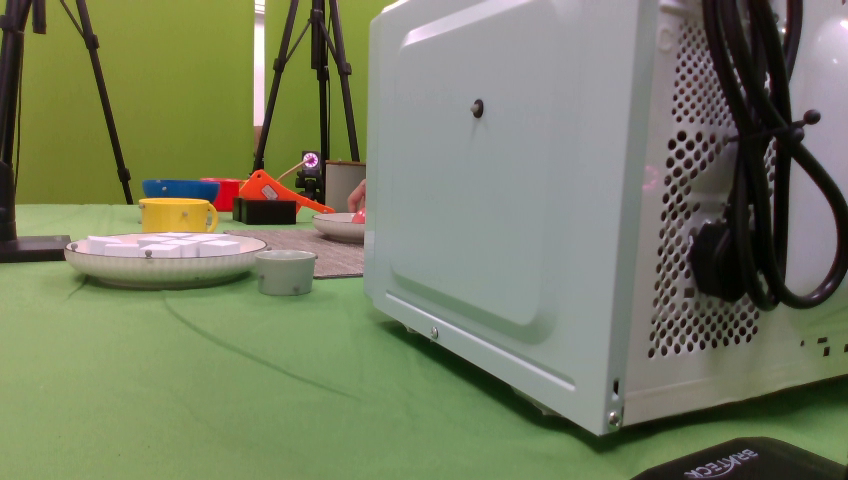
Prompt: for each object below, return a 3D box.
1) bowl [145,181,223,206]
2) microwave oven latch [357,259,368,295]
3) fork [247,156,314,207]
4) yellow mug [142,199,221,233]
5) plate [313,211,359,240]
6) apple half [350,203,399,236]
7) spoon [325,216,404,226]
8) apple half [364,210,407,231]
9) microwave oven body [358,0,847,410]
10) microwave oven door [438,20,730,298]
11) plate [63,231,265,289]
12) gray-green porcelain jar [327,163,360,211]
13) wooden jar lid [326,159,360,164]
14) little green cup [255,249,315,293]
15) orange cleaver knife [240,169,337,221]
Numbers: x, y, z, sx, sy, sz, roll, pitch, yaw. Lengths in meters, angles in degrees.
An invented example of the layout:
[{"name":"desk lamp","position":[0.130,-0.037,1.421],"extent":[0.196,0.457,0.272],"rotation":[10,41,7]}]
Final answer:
[{"name":"bowl","position":[-0.499,-0.081,1.261],"extent":[0.151,0.077,0.151],"rotation":[2,8,0]},{"name":"microwave oven latch","position":[-0.019,0.031,0.529],"extent":[0.079,0.029,0.030],"rotation":[-1,7,-26]},{"name":"fork","position":[-0.360,-0.147,1.523],"extent":[0.207,0.019,0.028],"rotation":[-43,17,-7]},{"name":"yellow mug","position":[-0.373,-0.030,0.948],"extent":[0.099,0.064,0.131],"rotation":[6,8,30]},{"name":"plate","position":[-0.091,-0.026,1.063],"extent":[0.209,0.038,0.209],"rotation":[2,7,0]},{"name":"apple half","position":[-0.082,-0.036,1.024],"extent":[0.081,0.053,0.074],"rotation":[-3,11,-34]},{"name":"spoon","position":[-0.120,-0.043,1.273],"extent":[0.195,0.021,0.041],"rotation":[-5,-11,-39]},{"name":"apple half","position":[-0.068,-0.037,1.103],"extent":[0.081,0.033,0.081],"rotation":[-1,10,1]},{"name":"microwave oven body","position":[0.210,-0.051,0.471],"extent":[0.444,0.260,0.324],"rotation":[-1,7,-28]},{"name":"microwave oven door","position":[0.181,-0.076,0.618],"extent":[0.358,0.243,0.039],"rotation":[-2,8,-28]},{"name":"plate","position":[-0.288,0.021,0.687],"extent":[0.208,0.039,0.207],"rotation":[2,8,0]},{"name":"gray-green porcelain jar","position":[-0.187,-0.125,1.490],"extent":[0.106,0.126,0.106],"rotation":[2,8,0]},{"name":"wooden jar lid","position":[-0.185,-0.187,1.481],"extent":[0.108,0.020,0.108],"rotation":[4,6,0]},{"name":"little green cup","position":[-0.144,0.031,0.627],"extent":[0.061,0.038,0.061],"rotation":[2,6,0]},{"name":"orange cleaver knife","position":[-0.286,-0.082,1.299],"extent":[0.212,0.077,0.012],"rotation":[25,-2,-31]}]
